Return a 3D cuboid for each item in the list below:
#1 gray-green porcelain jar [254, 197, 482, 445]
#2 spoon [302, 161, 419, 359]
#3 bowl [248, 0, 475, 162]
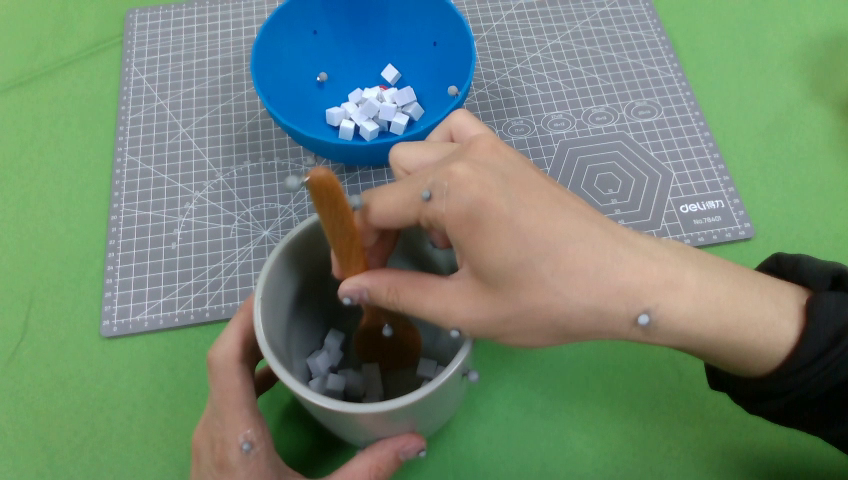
[{"bbox_3d":[-0.024,0.052,0.333,0.106,0.127,0.105,0,63,1],"label":"gray-green porcelain jar"},{"bbox_3d":[-0.029,0.022,0.299,0.041,0.195,0.021,-7,63,1],"label":"spoon"},{"bbox_3d":[-0.041,-0.109,0.435,0.151,0.077,0.150,0,64,1],"label":"bowl"}]
